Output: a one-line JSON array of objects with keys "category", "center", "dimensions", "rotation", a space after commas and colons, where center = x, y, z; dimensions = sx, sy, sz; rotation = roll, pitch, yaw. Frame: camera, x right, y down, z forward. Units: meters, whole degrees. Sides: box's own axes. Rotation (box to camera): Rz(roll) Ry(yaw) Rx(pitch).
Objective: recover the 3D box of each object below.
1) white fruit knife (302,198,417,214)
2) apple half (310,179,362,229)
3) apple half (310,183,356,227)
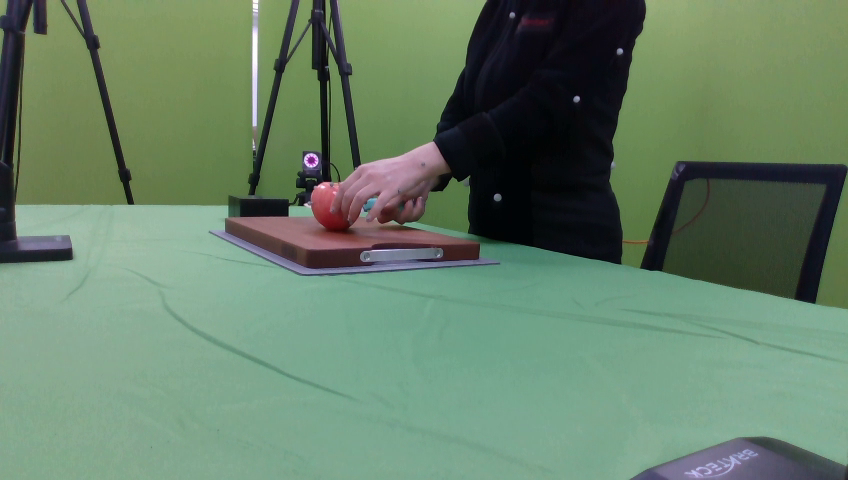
[{"category": "white fruit knife", "center": [-0.103, -0.058, 1.006], "dimensions": [0.208, 0.027, 0.016], "rotation": [-1, -15, -32]}, {"category": "apple half", "center": [-0.132, -0.051, 0.941], "dimensions": [0.081, 0.074, 0.053], "rotation": [-6, 34, -39]}, {"category": "apple half", "center": [-0.153, -0.054, 0.995], "dimensions": [0.082, 0.081, 0.032], "rotation": [-2, -12, -30]}]
